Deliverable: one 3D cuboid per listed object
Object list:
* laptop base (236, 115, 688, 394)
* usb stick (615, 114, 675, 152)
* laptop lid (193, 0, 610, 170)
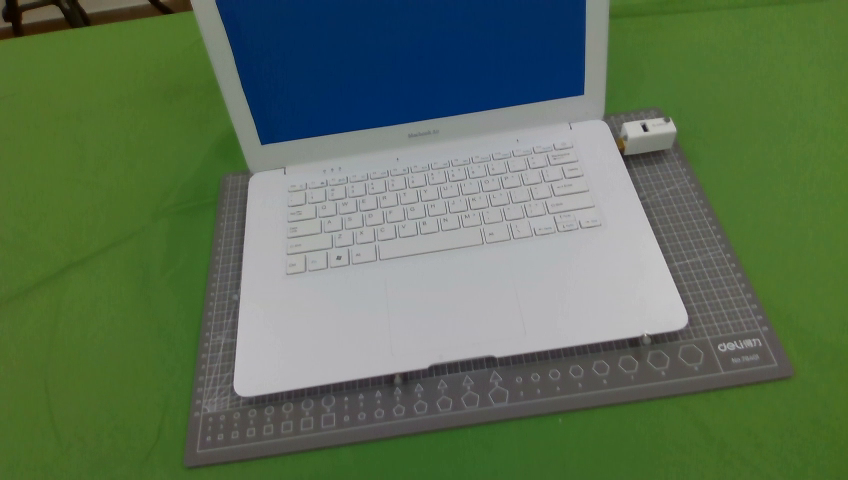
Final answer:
[{"bbox_3d":[0.017,0.001,0.532,0.354,0.023,0.233,-9,56,1],"label":"laptop base"},{"bbox_3d":[0.201,-0.099,0.567,0.059,0.027,0.021,-9,55,3],"label":"usb stick"},{"bbox_3d":[-0.012,-0.187,0.531,0.357,0.244,0.013,-10,36,1],"label":"laptop lid"}]
